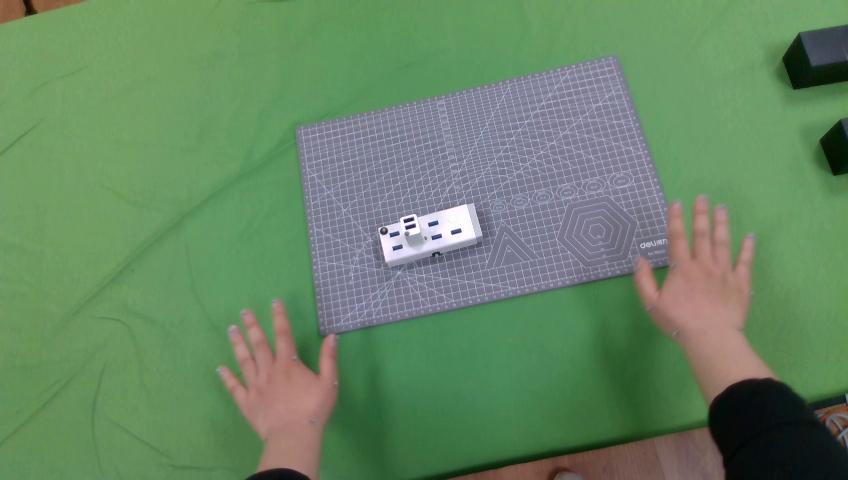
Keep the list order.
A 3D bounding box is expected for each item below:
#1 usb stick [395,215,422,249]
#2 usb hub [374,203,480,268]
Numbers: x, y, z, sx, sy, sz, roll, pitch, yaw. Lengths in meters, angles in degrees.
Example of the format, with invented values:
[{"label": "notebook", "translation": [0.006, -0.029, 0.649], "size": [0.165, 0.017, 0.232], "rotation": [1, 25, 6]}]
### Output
[{"label": "usb stick", "translation": [-0.017, -0.007, 0.728], "size": [0.021, 0.059, 0.027], "rotation": [-19, 68, 2]}, {"label": "usb hub", "translation": [0.003, -0.006, 0.756], "size": [0.125, 0.025, 0.049], "rotation": [-15, 69, 2]}]
